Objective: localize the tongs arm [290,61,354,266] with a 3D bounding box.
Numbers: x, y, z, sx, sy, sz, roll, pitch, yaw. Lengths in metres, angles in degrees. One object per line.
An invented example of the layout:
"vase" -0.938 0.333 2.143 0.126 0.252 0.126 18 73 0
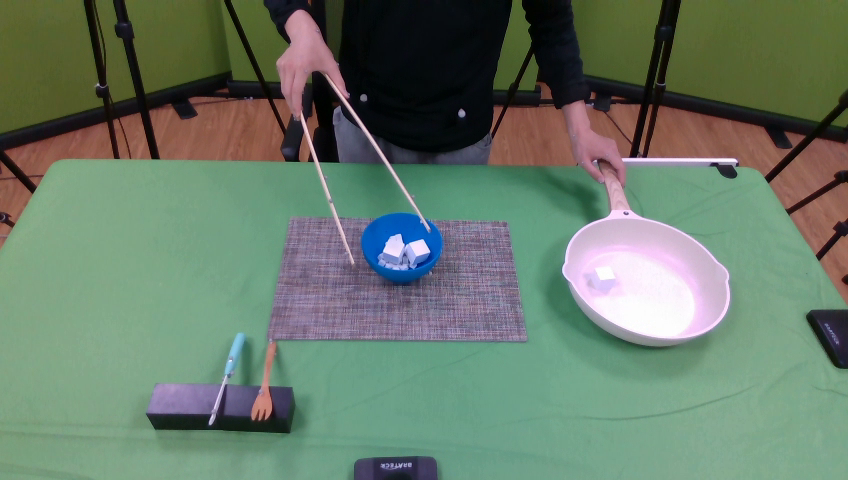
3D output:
"tongs arm" -0.169 -0.138 1.048 0.051 0.026 0.383 -21 76 -5

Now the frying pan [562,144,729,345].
"frying pan" 0.396 -0.008 1.179 0.307 0.103 0.484 1 55 -4

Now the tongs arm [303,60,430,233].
"tongs arm" -0.100 -0.169 1.058 0.028 0.028 0.386 -33 78 -4

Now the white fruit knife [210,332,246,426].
"white fruit knife" -0.301 0.206 0.930 0.016 0.027 0.206 5 29 -7

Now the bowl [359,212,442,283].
"bowl" -0.044 0.026 1.125 0.151 0.077 0.150 2 46 -2

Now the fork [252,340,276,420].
"fork" -0.242 0.211 0.932 0.028 0.019 0.206 -7 27 -5
